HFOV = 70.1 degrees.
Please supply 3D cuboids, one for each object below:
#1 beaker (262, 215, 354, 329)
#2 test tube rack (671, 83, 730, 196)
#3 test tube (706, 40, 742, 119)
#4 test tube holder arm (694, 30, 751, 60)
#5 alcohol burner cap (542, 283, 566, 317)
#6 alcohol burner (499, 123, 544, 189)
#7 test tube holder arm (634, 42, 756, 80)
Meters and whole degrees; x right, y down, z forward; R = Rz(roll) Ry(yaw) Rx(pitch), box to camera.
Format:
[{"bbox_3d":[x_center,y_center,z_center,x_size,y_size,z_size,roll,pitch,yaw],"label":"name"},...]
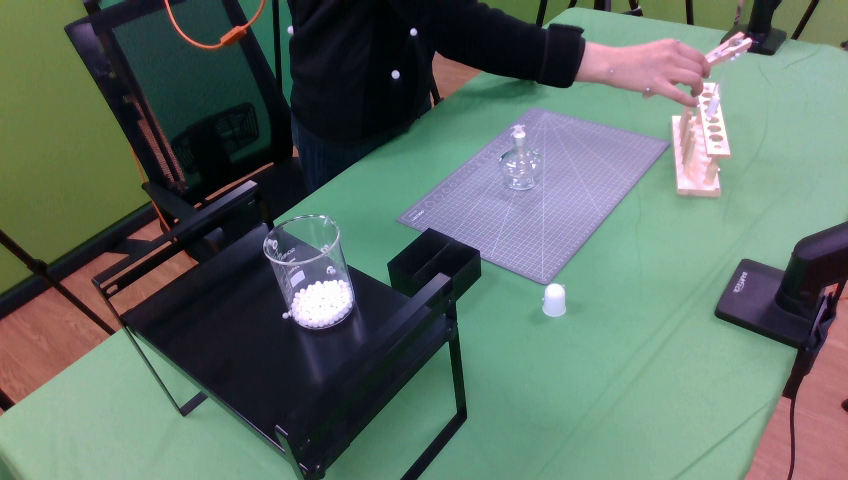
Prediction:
[{"bbox_3d":[-0.112,0.034,0.616,0.073,0.101,0.084,13,44,23],"label":"beaker"},{"bbox_3d":[0.482,-0.184,1.067,0.066,0.085,0.242,6,42,15],"label":"test tube rack"},{"bbox_3d":[0.460,-0.243,0.932,0.017,0.151,0.017,-4,57,6],"label":"test tube"},{"bbox_3d":[0.429,-0.277,0.872,0.088,0.015,0.010,-27,85,-3],"label":"test tube holder arm"},{"bbox_3d":[0.182,0.080,0.840,0.034,0.048,0.033,-4,42,4],"label":"alcohol burner cap"},{"bbox_3d":[0.168,-0.149,1.048,0.078,0.119,0.077,-6,41,5],"label":"alcohol burner"},{"bbox_3d":[0.389,-0.257,0.870,0.178,0.015,0.013,-16,84,-2],"label":"test tube holder arm"}]
